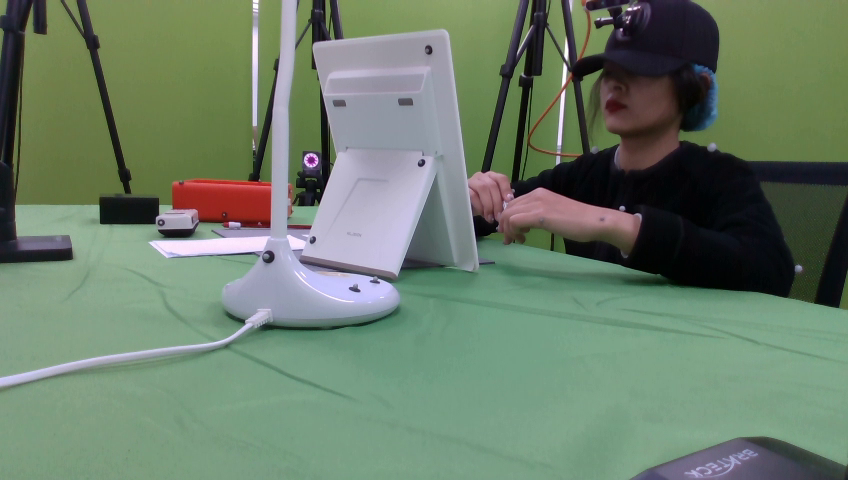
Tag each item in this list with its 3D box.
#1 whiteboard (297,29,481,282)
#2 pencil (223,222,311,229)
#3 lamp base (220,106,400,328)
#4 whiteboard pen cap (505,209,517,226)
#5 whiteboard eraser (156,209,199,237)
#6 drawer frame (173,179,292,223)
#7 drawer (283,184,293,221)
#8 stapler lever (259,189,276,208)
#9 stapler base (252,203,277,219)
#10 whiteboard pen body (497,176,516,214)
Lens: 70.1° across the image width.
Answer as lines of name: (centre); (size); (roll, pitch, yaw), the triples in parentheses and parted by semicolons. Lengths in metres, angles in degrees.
whiteboard: (-0.076, -0.082, 0.741); (0.216, 0.305, 0.144); (9, 29, 37)
pencil: (-0.274, -0.025, 1.132); (0.195, 0.012, 0.012); (1, 7, -25)
lamp base: (-0.101, -0.023, 0.531); (0.160, 0.180, 0.179); (4, 10, 10)
whiteboard pen cap: (0.123, -0.032, 0.855); (0.018, 0.018, 0.033); (3, 23, 7)
whiteboard eraser: (-0.411, -0.029, 1.016); (0.056, 0.042, 0.112); (2, 7, -16)
drawer frame: (-0.400, -0.086, 1.300); (0.214, 0.082, 0.201); (1, 8, -8)
drawer: (-0.396, -0.085, 1.301); (0.212, 0.073, 0.194); (1, 8, -7)
stapler lever: (-0.335, -0.090, 1.300); (0.027, 0.040, 0.118); (15, 4, -10)
stapler base: (-0.341, -0.065, 1.301); (0.041, 0.024, 0.130); (15, 5, -10)
whiteboard pen body: (0.124, -0.061, 0.906); (0.017, 0.017, 0.140); (2, 31, -2)
